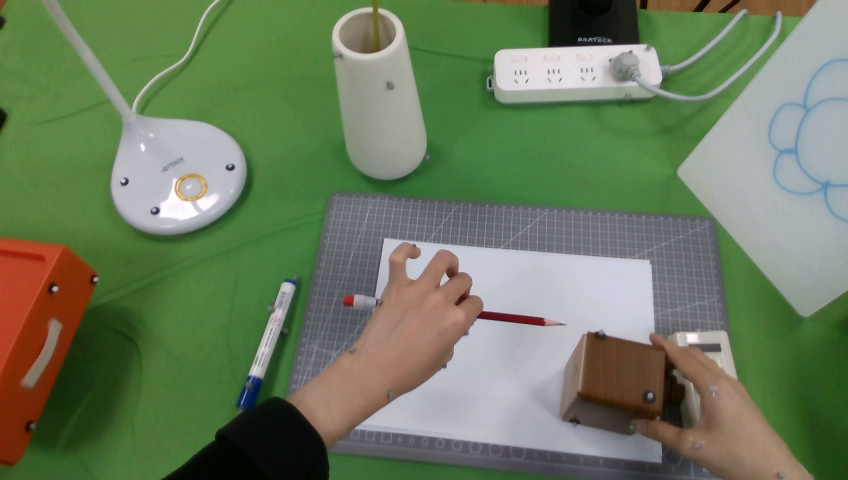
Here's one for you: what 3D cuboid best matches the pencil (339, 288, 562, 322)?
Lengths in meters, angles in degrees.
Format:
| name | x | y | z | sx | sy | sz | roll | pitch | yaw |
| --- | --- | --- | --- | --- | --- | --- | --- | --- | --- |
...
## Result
| name | x | y | z | sx | sy | sz | roll | pitch | yaw |
| --- | --- | --- | --- | --- | --- | --- | --- | --- | --- |
| pencil | 0.023 | 0.058 | 0.524 | 0.194 | 0.012 | 0.012 | 7 | 63 | 1 |

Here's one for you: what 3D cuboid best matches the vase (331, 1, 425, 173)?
| name | x | y | z | sx | sy | sz | roll | pitch | yaw |
| --- | --- | --- | --- | --- | --- | --- | --- | --- | --- |
| vase | -0.052 | -0.160 | 0.668 | 0.098 | 0.201 | 0.097 | -1 | 62 | 3 |

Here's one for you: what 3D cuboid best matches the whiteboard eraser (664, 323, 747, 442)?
| name | x | y | z | sx | sy | sz | roll | pitch | yaw |
| --- | --- | --- | --- | --- | --- | --- | --- | --- | --- |
| whiteboard eraser | 0.271 | 0.138 | 0.589 | 0.055 | 0.042 | 0.111 | 0 | 63 | 0 |

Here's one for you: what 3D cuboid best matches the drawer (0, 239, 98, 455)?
| name | x | y | z | sx | sy | sz | roll | pitch | yaw |
| --- | --- | --- | --- | --- | --- | --- | --- | --- | --- |
| drawer | -0.455 | 0.086 | 0.573 | 0.211 | 0.074 | 0.193 | 7 | 64 | 6 |

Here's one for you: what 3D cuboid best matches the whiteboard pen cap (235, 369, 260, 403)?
| name | x | y | z | sx | sy | sz | roll | pitch | yaw |
| --- | --- | --- | --- | --- | --- | --- | --- | --- | --- |
| whiteboard pen cap | -0.177 | 0.146 | 0.610 | 0.018 | 0.018 | 0.033 | 8 | 58 | 7 |

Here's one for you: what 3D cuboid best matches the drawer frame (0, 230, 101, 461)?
| name | x | y | z | sx | sy | sz | roll | pitch | yaw |
| --- | --- | --- | --- | --- | --- | --- | --- | --- | --- |
| drawer frame | -0.461 | 0.087 | 0.574 | 0.213 | 0.083 | 0.200 | 8 | 64 | 4 |

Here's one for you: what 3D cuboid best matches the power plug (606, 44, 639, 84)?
| name | x | y | z | sx | sy | sz | roll | pitch | yaw |
| --- | --- | --- | --- | --- | --- | --- | --- | --- | --- |
| power plug | 0.243 | -0.209 | 0.749 | 0.035 | 0.053 | 0.072 | 8 | 65 | 7 |

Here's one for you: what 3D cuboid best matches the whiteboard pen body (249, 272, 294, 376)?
| name | x | y | z | sx | sy | sz | roll | pitch | yaw |
| --- | --- | --- | --- | --- | --- | --- | --- | --- | --- |
| whiteboard pen body | -0.163 | 0.096 | 0.638 | 0.017 | 0.017 | 0.139 | 8 | 60 | 7 |

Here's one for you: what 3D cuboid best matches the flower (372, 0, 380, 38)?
| name | x | y | z | sx | sy | sz | roll | pitch | yaw |
| --- | --- | --- | --- | --- | --- | --- | --- | --- | --- |
| flower | -0.047 | -0.214 | 0.602 | 0.038 | 0.365 | 0.043 | -6 | 44 | -9 |

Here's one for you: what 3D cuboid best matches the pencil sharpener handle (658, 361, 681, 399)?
| name | x | y | z | sx | sy | sz | roll | pitch | yaw |
| --- | --- | --- | --- | --- | --- | --- | --- | --- | --- |
| pencil sharpener handle | 0.221 | 0.130 | 0.544 | 0.030 | 0.068 | 0.036 | 11 | 72 | 8 |

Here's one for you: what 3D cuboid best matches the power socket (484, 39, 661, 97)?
| name | x | y | z | sx | sy | sz | roll | pitch | yaw |
| --- | --- | --- | --- | --- | --- | --- | --- | --- | --- |
| power socket | 0.193 | -0.223 | 0.784 | 0.227 | 0.033 | 0.071 | -1 | 64 | 1 |

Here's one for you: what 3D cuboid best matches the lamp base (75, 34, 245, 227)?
| name | x | y | z | sx | sy | sz | roll | pitch | yaw |
| --- | --- | --- | --- | --- | --- | --- | --- | --- | --- |
| lamp base | -0.311 | -0.128 | 0.671 | 0.178 | 0.182 | 0.160 | 35 | 69 | 21 |

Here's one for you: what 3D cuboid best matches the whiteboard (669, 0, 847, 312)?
| name | x | y | z | sx | sy | sz | roll | pitch | yaw |
| --- | --- | --- | --- | --- | --- | --- | --- | --- | --- |
| whiteboard | 0.442 | -0.110 | 0.599 | 0.144 | 0.307 | 0.215 | -16 | 61 | -27 |

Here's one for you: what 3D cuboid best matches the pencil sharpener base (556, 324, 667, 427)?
| name | x | y | z | sx | sy | sz | roll | pitch | yaw |
| --- | --- | --- | --- | --- | --- | --- | --- | --- | --- |
| pencil sharpener base | 0.171 | 0.129 | 0.560 | 0.076 | 0.108 | 0.061 | 11 | 63 | 7 |
